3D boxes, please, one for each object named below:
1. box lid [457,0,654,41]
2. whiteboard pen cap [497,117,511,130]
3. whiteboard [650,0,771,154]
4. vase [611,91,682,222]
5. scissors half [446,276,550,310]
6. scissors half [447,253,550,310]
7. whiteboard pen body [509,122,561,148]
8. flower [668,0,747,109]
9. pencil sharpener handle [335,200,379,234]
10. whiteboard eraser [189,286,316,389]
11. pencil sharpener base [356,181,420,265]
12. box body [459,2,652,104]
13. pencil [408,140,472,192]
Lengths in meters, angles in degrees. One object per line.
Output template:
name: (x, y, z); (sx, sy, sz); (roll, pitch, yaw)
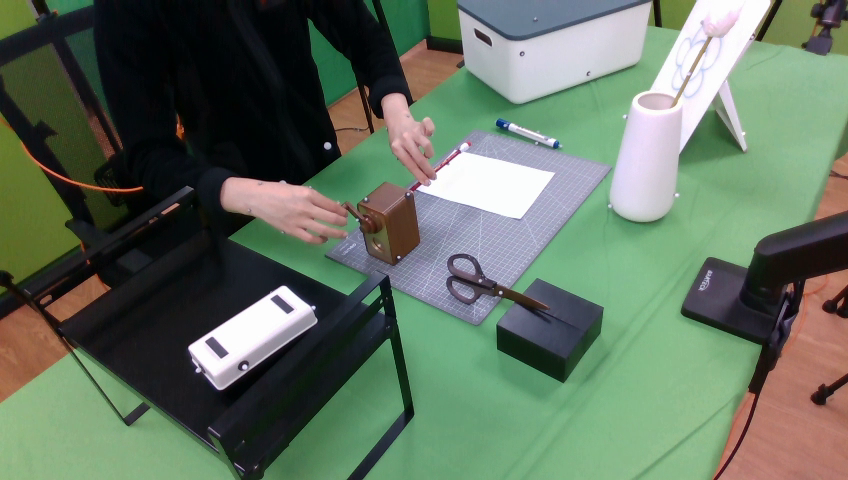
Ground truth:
box lid: (0.285, -0.522, 1.323); (0.373, 0.015, 0.261); (-22, 43, -16)
whiteboard pen cap: (0.165, -0.235, 1.227); (0.033, 0.018, 0.018); (31, 53, 30)
whiteboard: (0.543, -0.298, 1.076); (0.144, 0.305, 0.216); (12, 40, -7)
vase: (0.348, -0.125, 0.935); (0.098, 0.201, 0.097); (-3, 40, 3)
scissors half: (0.098, 0.077, 0.827); (0.174, 0.040, 0.013); (6, 14, 44)
scissors half: (0.098, 0.058, 0.821); (0.173, 0.040, 0.013); (27, 33, 37)
whiteboard pen body: (0.208, -0.212, 1.195); (0.139, 0.017, 0.017); (30, 52, 33)
flower: (0.354, -0.187, 0.879); (0.038, 0.362, 0.044); (30, 48, 14)
pencil sharpener handle: (-0.100, -0.028, 0.894); (0.068, 0.036, 0.031); (47, 56, -1)
whiteboard eraser: (-0.166, 0.096, 0.593); (0.113, 0.042, 0.055); (-36, 47, -29)
pencil sharpener base: (-0.056, -0.024, 0.941); (0.061, 0.107, 0.077); (23, 49, 31)
box body: (0.291, -0.465, 1.371); (0.365, 0.161, 0.252); (-22, 42, -16)
pencil: (0.015, -0.111, 0.984); (0.012, 0.012, 0.194); (27, 55, 34)
